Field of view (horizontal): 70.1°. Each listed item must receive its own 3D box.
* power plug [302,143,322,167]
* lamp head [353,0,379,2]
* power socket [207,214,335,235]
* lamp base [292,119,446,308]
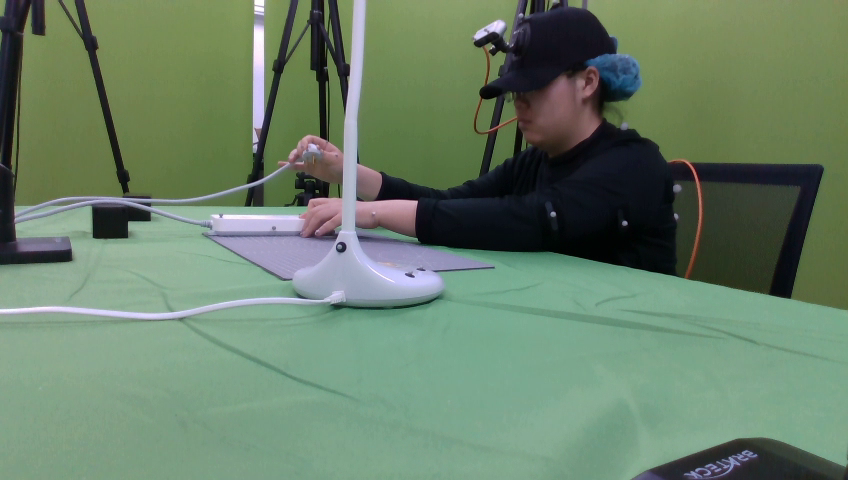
[{"bbox_3d":[-0.218,-0.156,1.168,0.035,0.052,0.072,2,-25,-14],"label":"power plug"},{"bbox_3d":[-0.064,-0.327,0.626,0.112,0.112,0.123,2,-27,-6],"label":"lamp head"},{"bbox_3d":[-0.271,-0.029,1.086,0.228,0.032,0.072,-1,8,-28],"label":"power socket"},{"bbox_3d":[-0.056,-0.030,0.616,0.160,0.180,0.179,4,10,8],"label":"lamp base"}]
